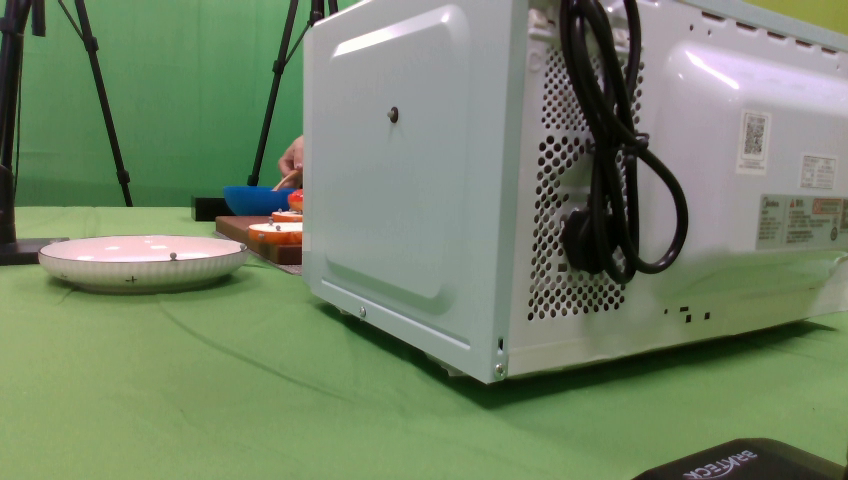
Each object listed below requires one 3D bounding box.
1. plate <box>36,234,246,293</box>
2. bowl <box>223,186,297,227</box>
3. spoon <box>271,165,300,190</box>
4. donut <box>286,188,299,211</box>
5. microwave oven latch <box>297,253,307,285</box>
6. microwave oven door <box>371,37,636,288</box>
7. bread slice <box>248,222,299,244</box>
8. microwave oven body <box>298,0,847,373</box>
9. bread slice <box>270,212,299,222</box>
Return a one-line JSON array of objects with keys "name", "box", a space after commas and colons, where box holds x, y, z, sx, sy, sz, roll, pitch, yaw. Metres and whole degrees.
[{"name": "plate", "box": [-0.305, 0.026, 0.668, 0.208, 0.039, 0.207, 3, 7, 0]}, {"name": "bowl", "box": [-0.330, -0.068, 1.230, 0.151, 0.077, 0.151, 2, 7, 0]}, {"name": "spoon", "box": [-0.291, -0.122, 1.264, 0.041, 0.022, 0.194, 14, 51, 41]}, {"name": "donut", "box": [-0.190, -0.068, 1.055, 0.099, 0.048, 0.099, 3, 6, 0]}, {"name": "microwave oven latch", "box": [-0.081, 0.027, 0.582, 0.079, 0.029, 0.030, -1, 7, -32]}, {"name": "microwave oven door", "box": [0.109, -0.080, 0.686, 0.358, 0.243, 0.039, -2, 9, -33]}, {"name": "bread slice", "box": [-0.174, -0.012, 0.844, 0.135, 0.018, 0.106, -6, 10, -44]}, {"name": "microwave oven body", "box": [0.151, -0.055, 0.542, 0.444, 0.260, 0.324, -2, 7, -33]}, {"name": "bread slice", "box": [-0.198, -0.038, 1.051, 0.132, 0.019, 0.104, 0, 6, -31]}]
